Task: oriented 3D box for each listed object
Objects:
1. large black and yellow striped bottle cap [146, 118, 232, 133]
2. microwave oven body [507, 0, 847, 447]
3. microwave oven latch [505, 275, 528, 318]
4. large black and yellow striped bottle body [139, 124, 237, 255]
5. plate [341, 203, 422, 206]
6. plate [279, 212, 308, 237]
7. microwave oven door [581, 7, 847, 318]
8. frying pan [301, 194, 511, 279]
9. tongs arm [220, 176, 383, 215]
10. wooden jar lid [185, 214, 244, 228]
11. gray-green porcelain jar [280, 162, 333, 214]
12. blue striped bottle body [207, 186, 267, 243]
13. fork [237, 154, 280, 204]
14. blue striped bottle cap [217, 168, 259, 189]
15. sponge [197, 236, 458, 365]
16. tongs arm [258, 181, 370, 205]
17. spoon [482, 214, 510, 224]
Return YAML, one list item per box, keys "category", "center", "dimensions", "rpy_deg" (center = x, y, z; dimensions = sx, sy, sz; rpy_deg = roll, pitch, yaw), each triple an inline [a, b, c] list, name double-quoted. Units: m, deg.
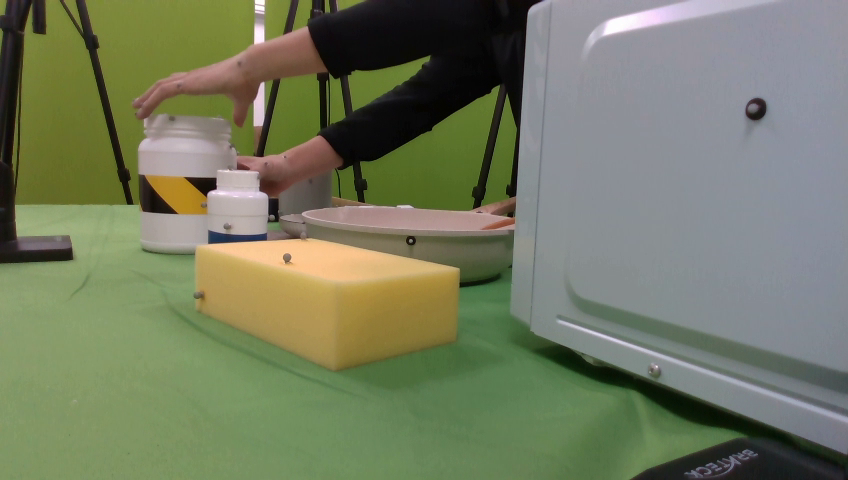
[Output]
- category: "large black and yellow striped bottle cap"
  center: [-0.333, -0.163, 0.861]
  dimensions: [0.115, 0.019, 0.115]
  rpy_deg: [1, 9, 0]
- category: "microwave oven body"
  center: [0.331, -0.042, 0.425]
  dimensions: [0.444, 0.260, 0.324]
  rpy_deg: [-2, 8, -31]
- category: "microwave oven latch"
  center: [0.100, 0.041, 0.472]
  dimensions: [0.079, 0.029, 0.030]
  rpy_deg: [-2, 8, -31]
- category: "large black and yellow striped bottle body"
  center: [-0.337, -0.078, 0.871]
  dimensions: [0.131, 0.184, 0.130]
  rpy_deg: [2, 8, 0]
- category: "plate"
  center: [-0.089, -0.053, 1.309]
  dimensions: [0.208, 0.039, 0.207]
  rpy_deg: [2, 8, 0]
- category: "plate"
  center: [-0.139, -0.022, 1.020]
  dimensions: [0.209, 0.038, 0.209]
  rpy_deg: [2, 8, 0]
- category: "microwave oven door"
  center: [0.295, -0.067, 0.569]
  dimensions: [0.358, 0.243, 0.039]
  rpy_deg: [-3, 8, -31]
- category: "frying pan"
  center: [0.050, -0.028, 0.864]
  dimensions: [0.305, 0.102, 0.490]
  rpy_deg: [8, 18, 35]
- category: "tongs arm"
  center: [-0.285, -0.103, 1.445]
  dimensions: [0.389, 0.027, 0.028]
  rpy_deg: [9, -4, -23]
- category: "wooden jar lid"
  center: [-0.404, -0.037, 1.169]
  dimensions: [0.108, 0.020, 0.108]
  rpy_deg: [3, 7, 0]
- category: "gray-green porcelain jar"
  center: [-0.238, -0.092, 1.221]
  dimensions: [0.106, 0.126, 0.106]
  rpy_deg: [2, 7, 0]
- category: "blue striped bottle body"
  center: [-0.204, -0.016, 0.663]
  dimensions: [0.063, 0.120, 0.063]
  rpy_deg: [2, 7, 0]
- category: "fork"
  center: [-0.396, -0.143, 1.486]
  dimensions: [0.028, 0.018, 0.208]
  rpy_deg: [20, -26, 45]
- category: "blue striped bottle cap"
  center: [-0.202, -0.067, 0.656]
  dimensions: [0.044, 0.020, 0.044]
  rpy_deg: [0, 11, 0]
- category: "sponge"
  center: [-0.087, 0.039, 0.500]
  dimensions: [0.206, 0.061, 0.119]
  rpy_deg: [8, 9, 44]
- category: "tongs arm"
  center: [-0.241, -0.095, 1.373]
  dimensions: [0.387, 0.026, 0.050]
  rpy_deg: [9, -1, -37]
- category: "spoon"
  center: [0.076, -0.013, 0.794]
  dimensions: [0.193, 0.021, 0.042]
  rpy_deg: [-24, -3, 11]
